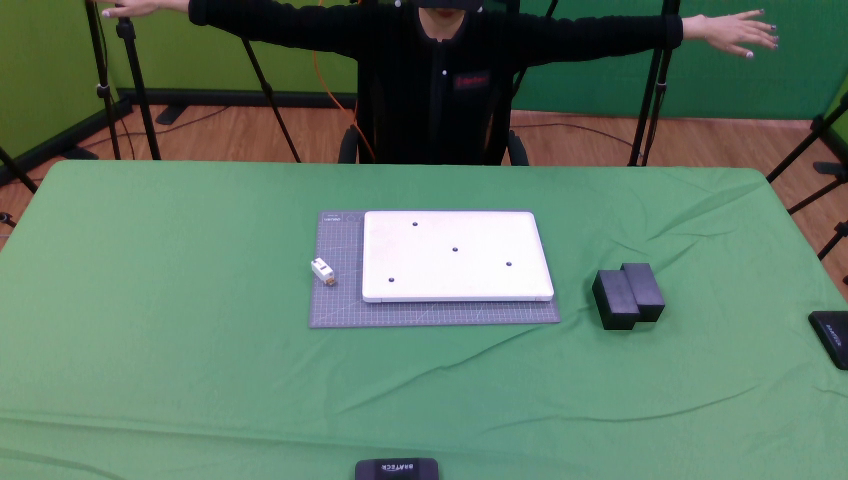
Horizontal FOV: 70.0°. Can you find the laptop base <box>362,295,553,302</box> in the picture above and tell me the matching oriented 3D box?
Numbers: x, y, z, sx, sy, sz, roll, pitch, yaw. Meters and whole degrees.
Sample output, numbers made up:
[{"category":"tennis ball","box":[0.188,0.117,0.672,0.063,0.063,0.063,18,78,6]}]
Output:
[{"category":"laptop base","box":[0.058,0.030,1.175,0.355,0.023,0.234,0,43,-4]}]

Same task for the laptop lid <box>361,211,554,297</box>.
[{"category":"laptop lid","box":[0.058,0.020,1.169,0.357,0.013,0.240,1,44,-3]}]

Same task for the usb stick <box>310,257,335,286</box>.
[{"category":"usb stick","box":[-0.185,0.060,1.119,0.021,0.027,0.059,-30,57,-28]}]
